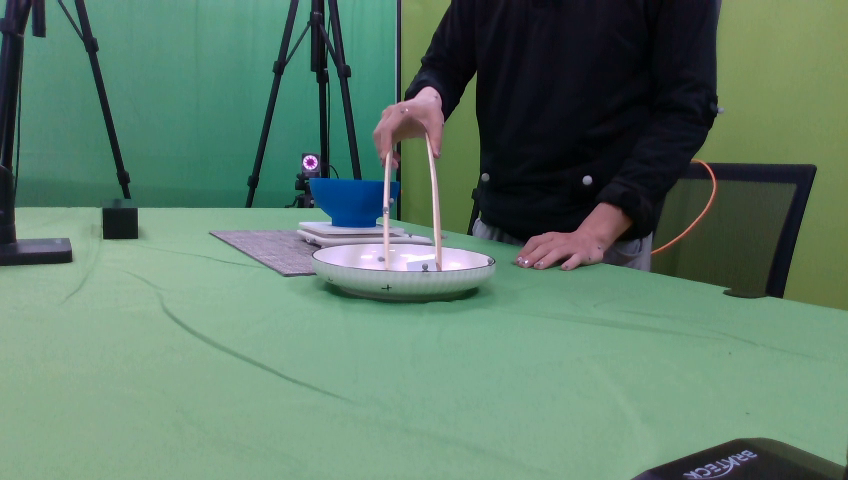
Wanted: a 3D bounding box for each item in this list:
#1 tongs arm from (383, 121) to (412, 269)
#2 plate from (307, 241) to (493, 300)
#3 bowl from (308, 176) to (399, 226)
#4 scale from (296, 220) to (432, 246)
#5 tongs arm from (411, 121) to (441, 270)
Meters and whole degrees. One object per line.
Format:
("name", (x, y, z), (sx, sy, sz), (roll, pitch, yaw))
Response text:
("tongs arm", (-0.030, -0.070, 0.797), (0.051, 0.026, 0.384), (-10, 33, 2))
("plate", (-0.027, 0.034, 0.684), (0.208, 0.039, 0.207), (2, 7, 0))
("bowl", (-0.116, -0.064, 1.001), (0.151, 0.077, 0.151), (2, 6, 0))
("scale", (-0.101, -0.012, 1.017), (0.202, 0.031, 0.148), (-1, 8, -30))
("tongs arm", (0.003, -0.074, 0.796), (0.028, 0.028, 0.386), (-12, 33, 5))
